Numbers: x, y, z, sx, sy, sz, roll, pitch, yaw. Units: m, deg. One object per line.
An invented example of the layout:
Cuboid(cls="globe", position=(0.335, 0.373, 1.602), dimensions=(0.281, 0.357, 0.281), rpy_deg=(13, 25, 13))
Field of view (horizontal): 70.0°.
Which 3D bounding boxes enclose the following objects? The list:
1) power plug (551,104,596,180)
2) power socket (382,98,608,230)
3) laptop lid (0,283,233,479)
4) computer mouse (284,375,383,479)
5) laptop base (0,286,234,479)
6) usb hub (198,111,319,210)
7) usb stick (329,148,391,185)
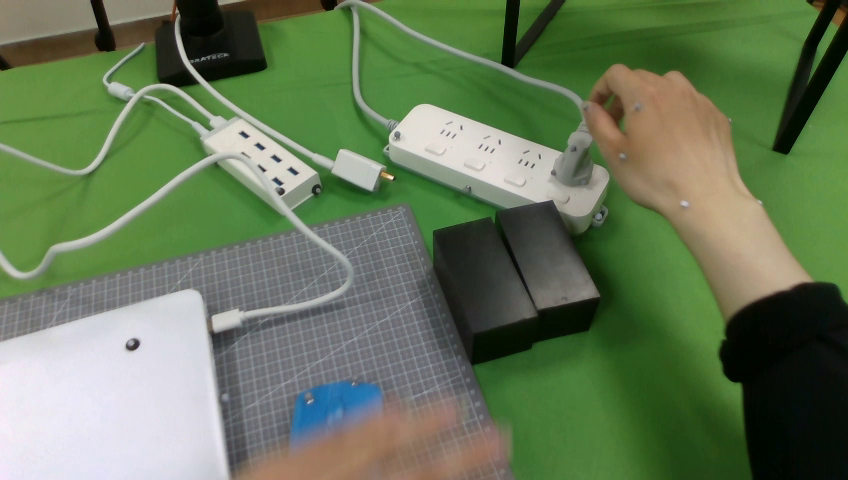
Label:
Cuboid(cls="power plug", position=(0.144, -0.081, 0.551), dimensions=(0.035, 0.053, 0.072), rpy_deg=(34, 62, 26))
Cuboid(cls="power socket", position=(0.066, -0.076, 0.577), dimensions=(0.225, 0.033, 0.072), rpy_deg=(24, 56, 19))
Cuboid(cls="laptop lid", position=(-0.308, 0.168, 0.391), dimensions=(0.357, 0.013, 0.239), rpy_deg=(-15, 56, -10))
Cuboid(cls="computer mouse", position=(-0.059, 0.142, 0.405), dimensions=(0.063, 0.041, 0.116), rpy_deg=(-5, 48, 0))
Cuboid(cls="laptop base", position=(-0.308, 0.174, 0.402), dimensions=(0.355, 0.023, 0.233), rpy_deg=(-16, 57, -11))
Cuboid(cls="usb hub", position=(-0.163, -0.080, 0.589), dimensions=(0.124, 0.025, 0.049), rpy_deg=(36, 61, 26))
Cuboid(cls="usb stick", position=(-0.059, -0.068, 0.577), dimensions=(0.059, 0.027, 0.021), rpy_deg=(15, 10, -6))
